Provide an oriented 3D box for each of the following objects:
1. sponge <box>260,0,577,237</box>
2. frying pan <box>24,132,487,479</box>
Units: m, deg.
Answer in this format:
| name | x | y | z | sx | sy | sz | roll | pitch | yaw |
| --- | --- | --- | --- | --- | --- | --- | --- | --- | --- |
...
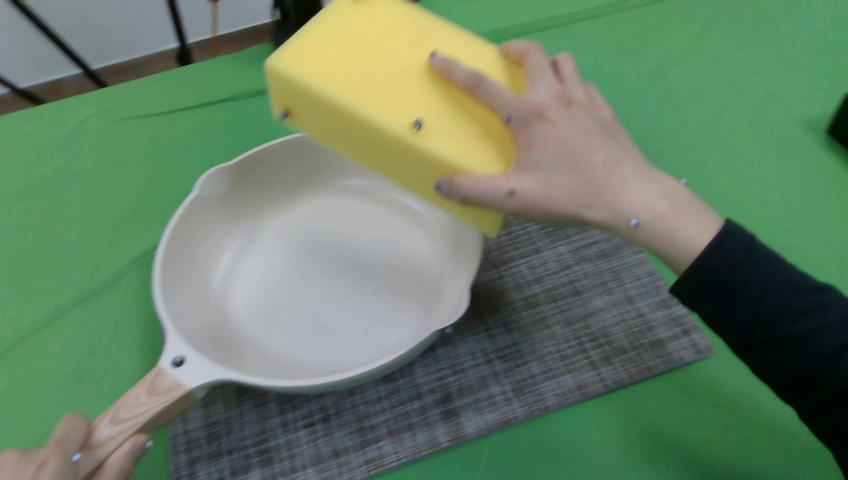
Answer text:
| name | x | y | z | sx | sy | sz | roll | pitch | yaw |
| --- | --- | --- | --- | --- | --- | --- | --- | --- | --- |
| sponge | -0.004 | -0.104 | 0.471 | 0.206 | 0.061 | 0.118 | 28 | 62 | 11 |
| frying pan | -0.151 | 0.068 | 0.502 | 0.304 | 0.103 | 0.487 | 28 | 52 | 27 |
